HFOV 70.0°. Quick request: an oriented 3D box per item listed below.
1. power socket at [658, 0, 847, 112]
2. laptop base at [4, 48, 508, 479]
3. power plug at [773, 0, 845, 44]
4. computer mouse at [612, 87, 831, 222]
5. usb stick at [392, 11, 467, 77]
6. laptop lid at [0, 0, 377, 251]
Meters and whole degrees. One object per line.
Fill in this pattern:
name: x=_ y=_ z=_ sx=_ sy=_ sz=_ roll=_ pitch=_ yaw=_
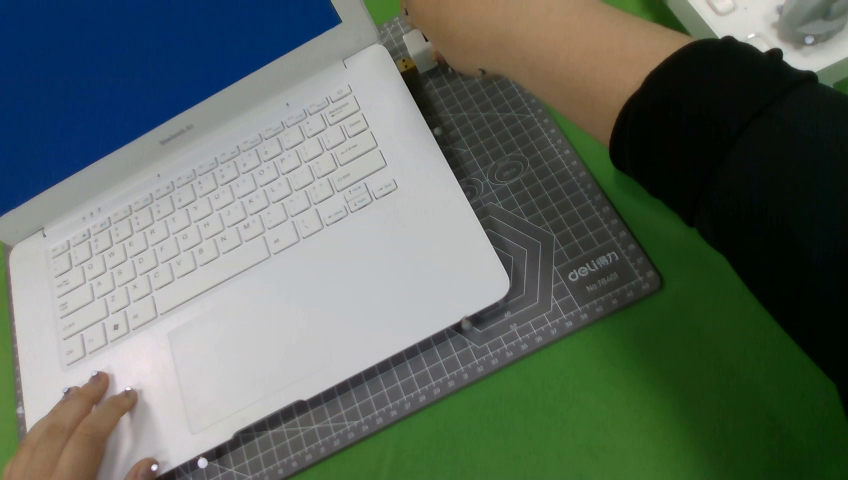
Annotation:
power socket: x=0.199 y=-0.178 z=0.410 sx=0.072 sy=0.033 sz=0.224 roll=-26 pitch=62 yaw=6
laptop base: x=-0.143 y=0.023 z=0.439 sx=0.354 sy=0.023 sz=0.233 roll=-28 pitch=65 yaw=4
power plug: x=0.245 y=-0.139 z=0.356 sx=0.072 sy=0.053 sz=0.035 roll=-18 pitch=66 yaw=10
computer mouse: x=0.175 y=-0.057 z=0.364 sx=0.116 sy=0.041 sz=0.062 roll=23 pitch=78 yaw=29
usb stick: x=0.001 y=-0.144 z=0.454 sx=0.059 sy=0.027 sz=0.021 roll=-27 pitch=66 yaw=10
laptop lid: x=-0.231 y=-0.136 z=0.404 sx=0.356 sy=0.244 sz=0.013 roll=-29 pitch=49 yaw=5
